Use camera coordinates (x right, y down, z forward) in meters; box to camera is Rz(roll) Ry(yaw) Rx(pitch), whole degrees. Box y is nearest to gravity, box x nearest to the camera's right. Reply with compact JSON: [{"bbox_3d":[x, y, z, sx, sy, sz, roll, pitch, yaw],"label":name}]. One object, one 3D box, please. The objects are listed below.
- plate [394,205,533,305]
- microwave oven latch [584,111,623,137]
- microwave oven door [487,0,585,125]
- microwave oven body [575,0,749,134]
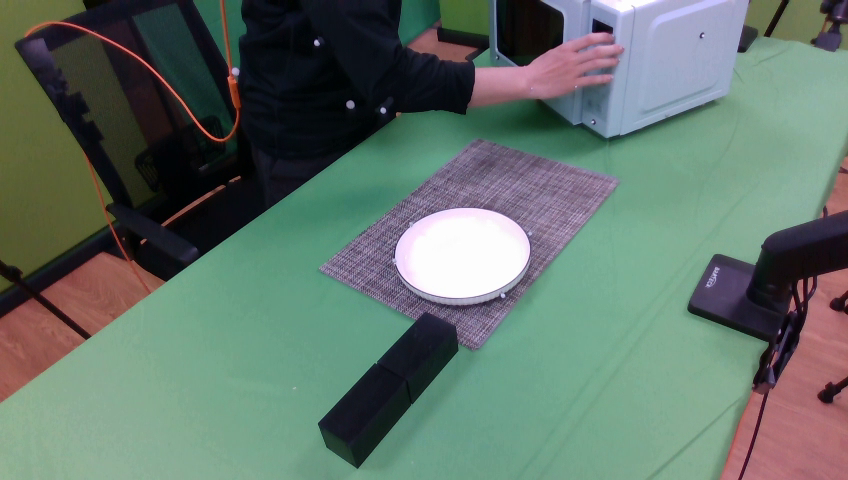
[{"bbox_3d":[0.059,0.025,0.915,0.207,0.039,0.206,-4,41,4],"label":"plate"},{"bbox_3d":[0.337,-0.222,1.142,0.030,0.029,0.078,-21,42,-14],"label":"microwave oven latch"},{"bbox_3d":[0.224,-0.417,1.228,0.039,0.245,0.352,-20,42,-14],"label":"microwave oven door"},{"bbox_3d":[0.382,-0.444,1.246,0.327,0.261,0.437,-22,42,-16],"label":"microwave oven body"}]
